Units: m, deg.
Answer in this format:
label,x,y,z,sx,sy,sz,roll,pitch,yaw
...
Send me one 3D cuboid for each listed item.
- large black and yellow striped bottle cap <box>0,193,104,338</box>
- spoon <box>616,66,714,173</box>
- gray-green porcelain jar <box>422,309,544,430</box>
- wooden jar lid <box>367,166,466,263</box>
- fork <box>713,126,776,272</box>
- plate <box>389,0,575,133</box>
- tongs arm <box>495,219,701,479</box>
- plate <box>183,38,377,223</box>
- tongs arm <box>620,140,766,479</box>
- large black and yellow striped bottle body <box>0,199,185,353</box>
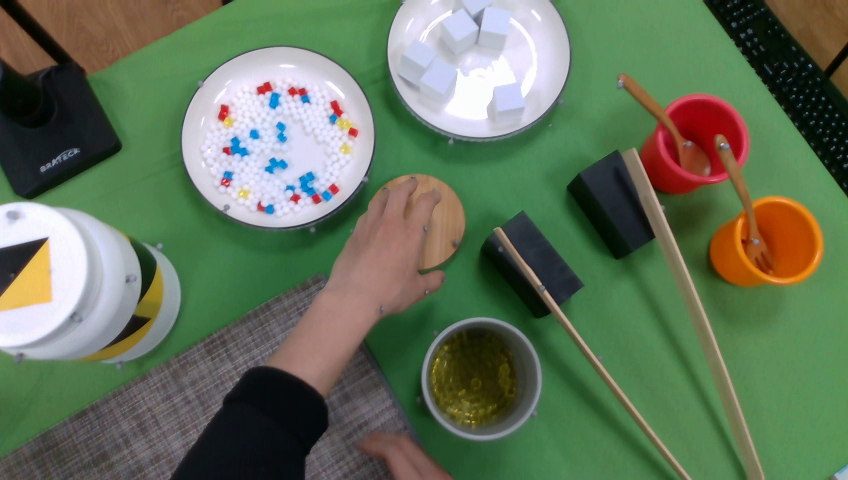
label,x,y,z,sx,sy,sz,roll,pitch,yaw
large black and yellow striped bottle cap,-0.315,0.019,0.477,0.115,0.019,0.114,1,81,-3
spoon,0.253,-0.125,0.626,0.196,0.021,0.041,31,73,-39
gray-green porcelain jar,0.051,0.124,0.585,0.106,0.127,0.105,0,79,-2
wooden jar lid,-0.008,-0.027,0.664,0.108,0.021,0.108,0,81,-2
fork,0.325,-0.037,0.611,0.028,0.018,0.209,-40,127,0
plate,0.065,-0.217,0.691,0.208,0.039,0.207,0,80,-1
tongs arm,0.202,0.124,0.607,0.051,0.026,0.385,-36,93,-10
plate,-0.155,-0.119,0.667,0.209,0.038,0.208,0,80,-1
tongs arm,0.274,0.081,0.620,0.028,0.027,0.387,-22,91,-14
large black and yellow striped bottle body,-0.317,0.037,0.559,0.131,0.184,0.130,0,79,-1
